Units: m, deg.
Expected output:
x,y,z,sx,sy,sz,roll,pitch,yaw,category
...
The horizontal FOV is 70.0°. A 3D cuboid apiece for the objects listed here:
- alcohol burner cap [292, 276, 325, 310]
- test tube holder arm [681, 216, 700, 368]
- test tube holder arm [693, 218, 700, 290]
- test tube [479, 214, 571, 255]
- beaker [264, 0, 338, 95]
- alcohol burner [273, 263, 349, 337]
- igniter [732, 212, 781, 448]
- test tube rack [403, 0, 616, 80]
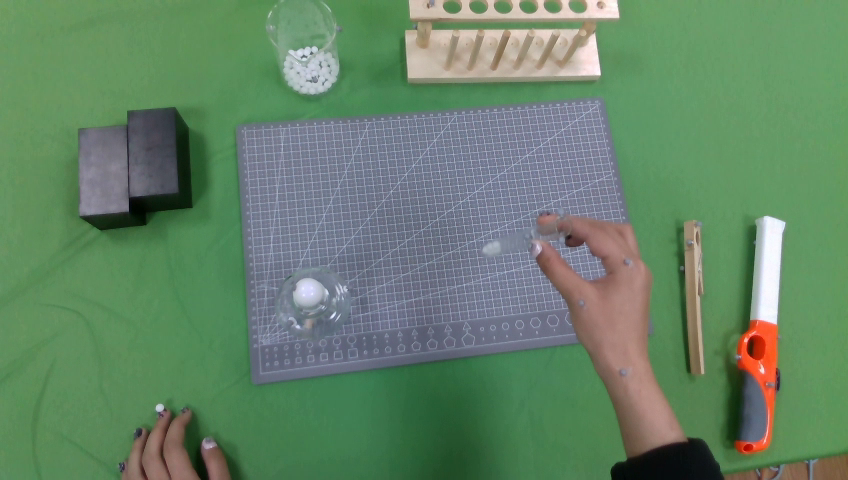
x,y,z,sx,sy,sz,roll,pitch,yaw,category
-0.112,0.050,0.579,0.034,0.048,0.033,1,81,-6,alcohol burner cap
0.310,0.059,0.704,0.013,0.015,0.177,13,74,-32,test tube holder arm
0.318,0.017,0.718,0.010,0.015,0.087,14,74,-32,test tube holder arm
0.083,-0.002,0.533,0.017,0.150,0.017,3,81,-18,test tube
-0.136,-0.216,0.691,0.074,0.100,0.083,-3,76,-6,beaker
-0.115,0.058,0.614,0.078,0.119,0.077,2,74,-6,alcohol burner
0.386,0.100,0.698,0.057,0.025,0.275,16,75,-12,igniter
0.099,-0.244,0.727,0.243,0.085,0.066,-2,76,-6,test tube rack
